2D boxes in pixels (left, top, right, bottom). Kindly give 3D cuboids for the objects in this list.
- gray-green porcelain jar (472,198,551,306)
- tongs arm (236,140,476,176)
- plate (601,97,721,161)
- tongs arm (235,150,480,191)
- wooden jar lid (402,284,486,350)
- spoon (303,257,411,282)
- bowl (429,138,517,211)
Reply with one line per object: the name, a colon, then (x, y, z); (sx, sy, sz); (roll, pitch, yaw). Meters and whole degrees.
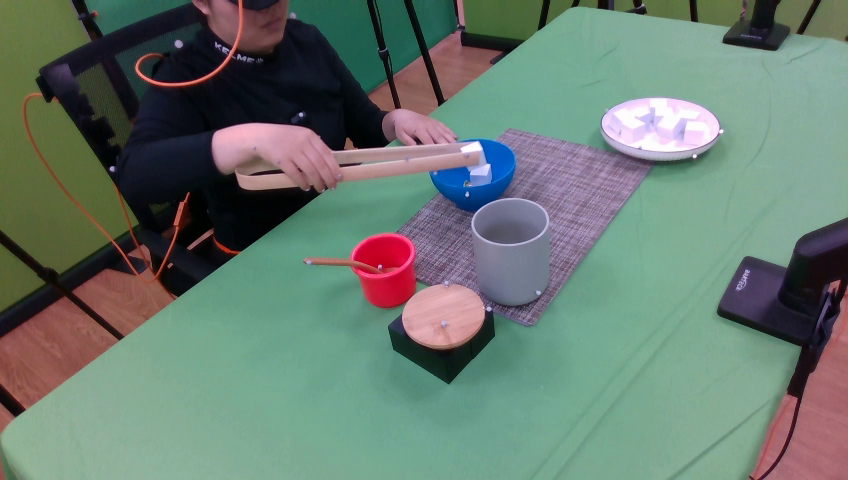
gray-green porcelain jar: (0.125, 0.021, 0.850); (0.106, 0.127, 0.105); (-6, 40, 5)
tongs arm: (-0.106, -0.131, 0.983); (0.388, 0.028, 0.028); (-6, 42, -3)
plate: (0.436, -0.203, 1.126); (0.209, 0.038, 0.208); (-5, 39, 5)
tongs arm: (-0.105, -0.117, 0.964); (0.386, 0.026, 0.050); (-9, 38, -6)
wooden jar lid: (0.026, 0.101, 0.786); (0.108, 0.021, 0.108); (-5, 39, 4)
spoon: (-0.092, 0.038, 0.865); (0.195, 0.021, 0.041); (16, 15, -46)
bowl: (0.087, -0.104, 1.043); (0.151, 0.077, 0.150); (-5, 40, 5)
